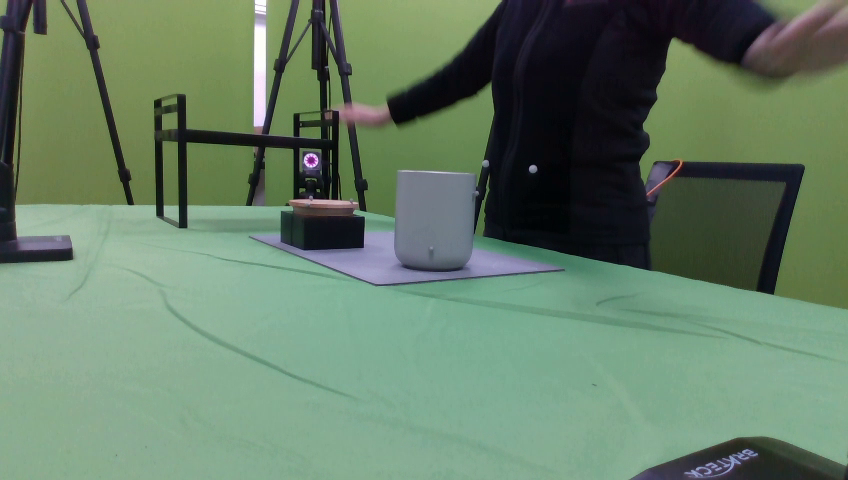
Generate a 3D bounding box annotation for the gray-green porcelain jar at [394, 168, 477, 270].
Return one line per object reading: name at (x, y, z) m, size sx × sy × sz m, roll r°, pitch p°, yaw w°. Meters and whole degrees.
gray-green porcelain jar at (0.014, -0.029, 0.793) m, size 0.106 × 0.126 × 0.106 m, roll 2°, pitch 7°, yaw 0°

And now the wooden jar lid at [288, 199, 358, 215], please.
wooden jar lid at (-0.158, -0.053, 0.950) m, size 0.108 × 0.020 × 0.108 m, roll 3°, pitch 8°, yaw 0°
